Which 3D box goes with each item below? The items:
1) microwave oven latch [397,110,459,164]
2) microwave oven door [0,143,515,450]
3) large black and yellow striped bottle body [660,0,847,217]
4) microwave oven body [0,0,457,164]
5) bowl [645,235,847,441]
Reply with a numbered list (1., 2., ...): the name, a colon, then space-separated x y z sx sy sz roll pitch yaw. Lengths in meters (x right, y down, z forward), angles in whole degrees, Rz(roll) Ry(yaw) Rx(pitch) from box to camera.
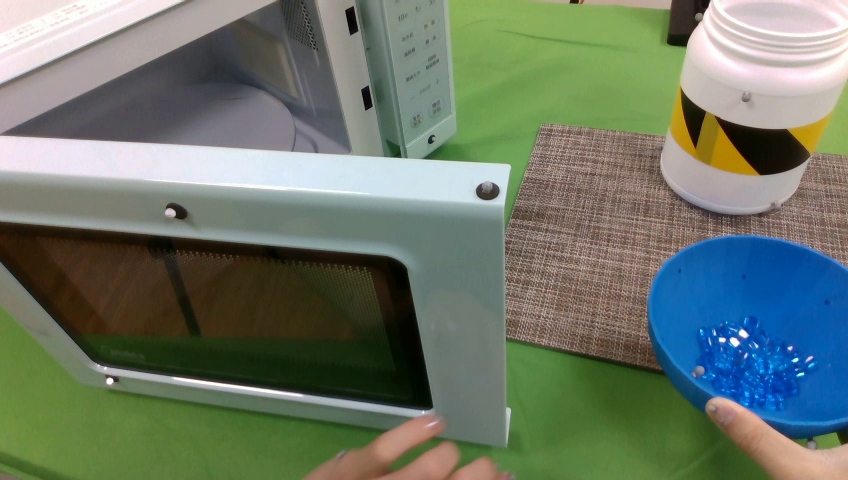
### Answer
1. microwave oven latch: 0.004 -0.116 0.661 0.079 0.030 0.030 -37 54 -24
2. microwave oven door: -0.121 0.043 0.388 0.355 0.246 0.039 4 48 12
3. large black and yellow striped bottle body: 0.298 -0.127 0.550 0.131 0.186 0.129 -4 47 4
4. microwave oven body: -0.235 -0.152 0.593 0.441 0.263 0.323 -39 54 -25
5. bowl: 0.224 0.077 0.413 0.151 0.077 0.150 -4 47 5
